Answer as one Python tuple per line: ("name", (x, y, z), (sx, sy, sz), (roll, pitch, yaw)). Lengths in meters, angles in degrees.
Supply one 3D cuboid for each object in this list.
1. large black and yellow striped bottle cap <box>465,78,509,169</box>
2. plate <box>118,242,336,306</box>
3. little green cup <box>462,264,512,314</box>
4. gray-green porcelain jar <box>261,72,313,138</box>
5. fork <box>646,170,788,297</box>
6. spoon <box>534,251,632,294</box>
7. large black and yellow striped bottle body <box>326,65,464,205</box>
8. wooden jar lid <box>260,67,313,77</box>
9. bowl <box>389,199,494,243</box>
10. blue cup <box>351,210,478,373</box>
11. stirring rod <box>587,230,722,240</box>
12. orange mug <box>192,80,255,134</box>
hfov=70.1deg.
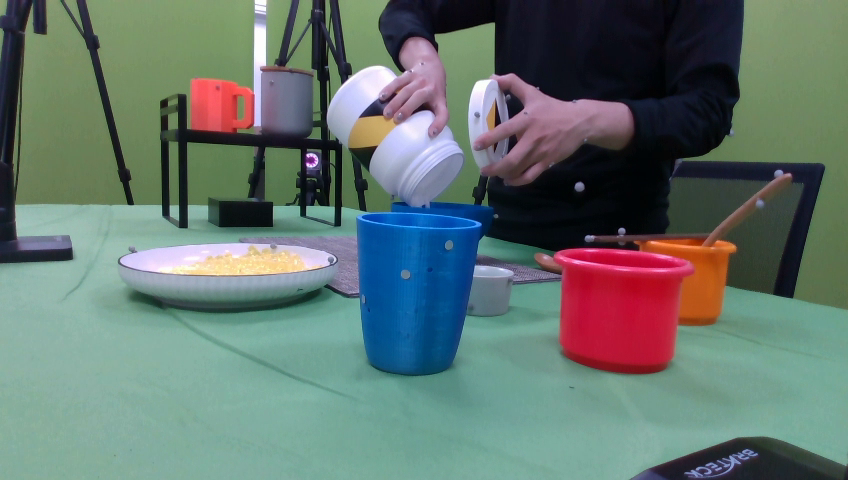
("large black and yellow striped bottle cap", (0.083, -0.148, 0.775), (0.018, 0.115, 0.115), (-2, 5, 27))
("plate", (-0.194, 0.033, 0.615), (0.209, 0.038, 0.209), (2, 7, 0))
("little green cup", (0.053, 0.047, 0.580), (0.061, 0.038, 0.061), (3, 8, 0))
("gray-green porcelain jar", (-0.284, -0.277, 1.253), (0.106, 0.126, 0.106), (2, 8, 0))
("fork", (0.256, 0.004, 0.543), (0.028, 0.018, 0.207), (3, -36, -10))
("spoon", (0.193, 0.038, 0.753), (0.042, 0.021, 0.193), (14, 2, -21))
("large black and yellow striped bottle body", (-0.041, -0.151, 0.888), (0.183, 0.130, 0.131), (47, 24, 16))
("wooden jar lid", (-0.283, -0.339, 1.244), (0.108, 0.020, 0.108), (5, 9, 0))
("bowl", (0.024, -0.016, 0.872), (0.151, 0.077, 0.151), (2, 7, 0))
("blue cup", (-0.009, 0.034, 0.414), (0.093, 0.100, 0.092), (3, 8, 0))
("stirring rod", (0.227, -0.005, 0.585), (0.177, 0.006, 0.014), (-2, 7, -28))
("orange mug", (-0.388, -0.257, 1.173), (0.126, 0.100, 0.083), (-1, 7, 9))
